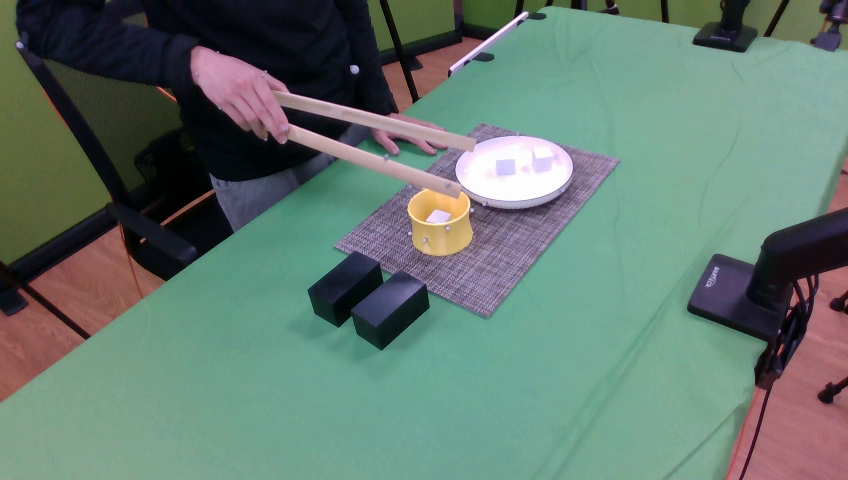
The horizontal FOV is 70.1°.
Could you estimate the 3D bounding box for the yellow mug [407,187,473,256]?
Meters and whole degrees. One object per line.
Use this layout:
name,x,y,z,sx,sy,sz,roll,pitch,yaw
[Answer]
yellow mug,0.021,-0.041,0.973,0.100,0.064,0.129,-19,41,-12

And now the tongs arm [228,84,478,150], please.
tongs arm,-0.107,-0.189,0.937,0.388,0.028,0.028,12,47,-4

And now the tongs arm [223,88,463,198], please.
tongs arm,-0.123,-0.143,0.882,0.384,0.026,0.050,19,44,4

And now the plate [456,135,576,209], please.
plate,0.161,-0.116,1.064,0.207,0.039,0.206,-4,40,4
